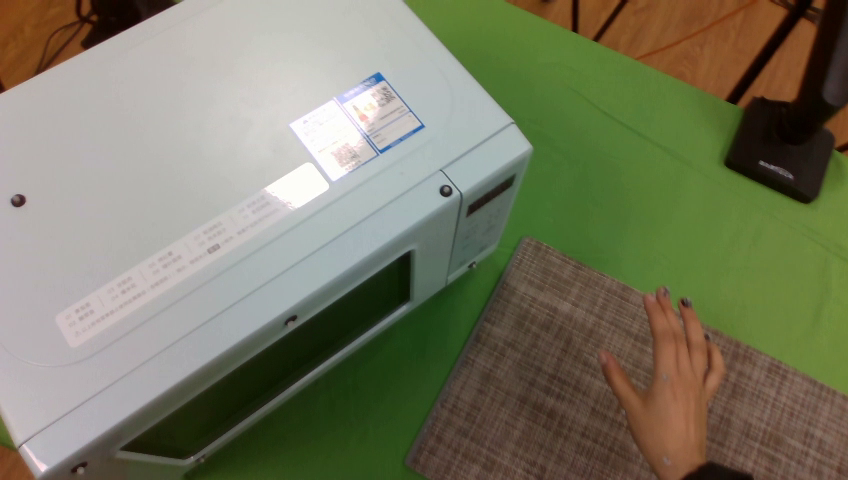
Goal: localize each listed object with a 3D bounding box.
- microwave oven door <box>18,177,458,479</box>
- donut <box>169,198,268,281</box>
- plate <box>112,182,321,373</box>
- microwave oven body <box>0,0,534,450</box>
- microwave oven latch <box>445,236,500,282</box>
[{"bbox_3d":[-0.125,0.094,0.547,0.356,0.245,0.039,-35,73,-15],"label":"microwave oven door"},{"bbox_3d":[-0.214,-0.001,0.635,0.099,0.048,0.098,6,54,-8],"label":"donut"},{"bbox_3d":[-0.206,0.037,0.618,0.209,0.038,0.207,-1,63,3],"label":"plate"},{"bbox_3d":[-0.179,-0.037,0.602,0.441,0.261,0.324,-35,74,-14],"label":"microwave oven body"},{"bbox_3d":[0.049,0.014,0.696,0.079,0.029,0.030,-34,74,-14],"label":"microwave oven latch"}]
